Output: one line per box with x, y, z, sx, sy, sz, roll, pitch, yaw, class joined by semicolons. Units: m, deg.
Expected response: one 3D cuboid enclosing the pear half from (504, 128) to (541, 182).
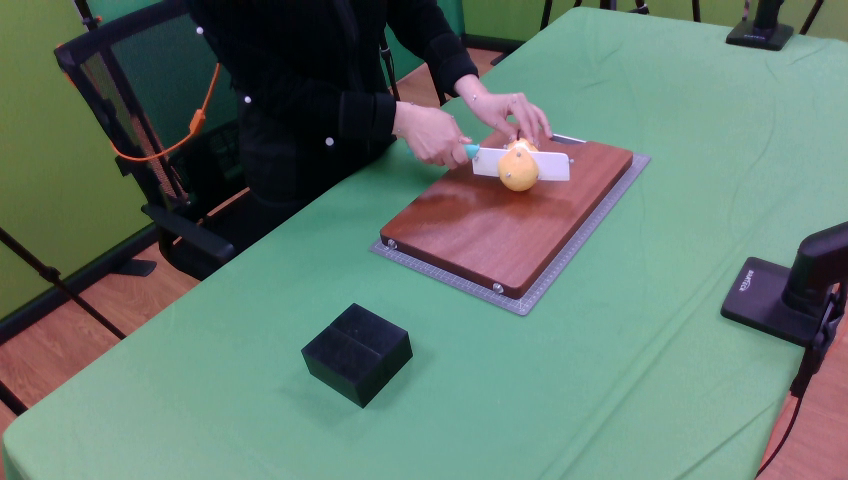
0.164;-0.145;1.014;0.076;0.110;0.056;5;42;11;pear half

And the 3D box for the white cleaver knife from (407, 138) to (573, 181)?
0.105;-0.131;1.011;0.285;0.066;0.021;9;47;17;white cleaver knife

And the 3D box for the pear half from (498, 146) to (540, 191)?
0.154;-0.111;0.993;0.070;0.088;0.031;5;50;11;pear half
